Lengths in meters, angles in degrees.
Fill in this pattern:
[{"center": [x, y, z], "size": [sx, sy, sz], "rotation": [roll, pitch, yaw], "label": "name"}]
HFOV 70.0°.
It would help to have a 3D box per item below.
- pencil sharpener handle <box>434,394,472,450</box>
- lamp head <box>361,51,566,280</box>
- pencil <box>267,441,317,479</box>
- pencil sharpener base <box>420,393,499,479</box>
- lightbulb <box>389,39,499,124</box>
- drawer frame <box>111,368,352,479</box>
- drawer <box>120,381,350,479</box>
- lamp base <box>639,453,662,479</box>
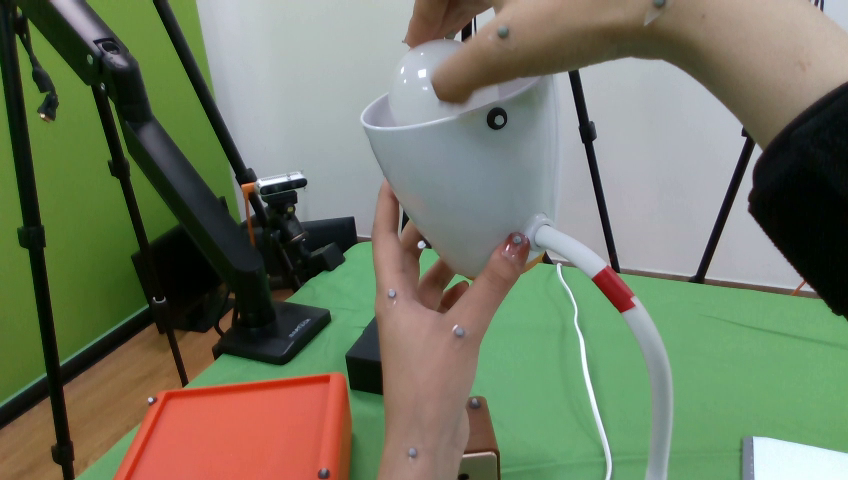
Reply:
[{"center": [0.026, 0.167, 0.579], "size": [0.036, 0.068, 0.030], "rotation": [-1, 25, -4], "label": "pencil sharpener handle"}, {"center": [0.036, -0.037, 0.356], "size": [0.112, 0.124, 0.111], "rotation": [-18, 22, 8], "label": "lamp head"}, {"center": [-0.168, 0.241, 0.525], "size": [0.012, 0.012, 0.194], "rotation": [21, 47, 42], "label": "pencil"}, {"center": [0.031, 0.199, 0.538], "size": [0.061, 0.108, 0.076], "rotation": [-6, 26, -1], "label": "pencil sharpener base"}, {"center": [0.020, -0.060, 0.344], "size": [0.059, 0.109, 0.059], "rotation": [-18, 32, 12], "label": "lightbulb"}, {"center": [-0.173, 0.221, 0.554], "size": [0.202, 0.083, 0.212], "rotation": [-6, 25, -2], "label": "drawer frame"}, {"center": [-0.171, 0.224, 0.552], "size": [0.194, 0.074, 0.210], "rotation": [-6, 25, -1], "label": "drawer"}, {"center": [0.145, 0.234, 0.359], "size": [0.161, 0.181, 0.177], "rotation": [-8, 22, -5], "label": "lamp base"}]
